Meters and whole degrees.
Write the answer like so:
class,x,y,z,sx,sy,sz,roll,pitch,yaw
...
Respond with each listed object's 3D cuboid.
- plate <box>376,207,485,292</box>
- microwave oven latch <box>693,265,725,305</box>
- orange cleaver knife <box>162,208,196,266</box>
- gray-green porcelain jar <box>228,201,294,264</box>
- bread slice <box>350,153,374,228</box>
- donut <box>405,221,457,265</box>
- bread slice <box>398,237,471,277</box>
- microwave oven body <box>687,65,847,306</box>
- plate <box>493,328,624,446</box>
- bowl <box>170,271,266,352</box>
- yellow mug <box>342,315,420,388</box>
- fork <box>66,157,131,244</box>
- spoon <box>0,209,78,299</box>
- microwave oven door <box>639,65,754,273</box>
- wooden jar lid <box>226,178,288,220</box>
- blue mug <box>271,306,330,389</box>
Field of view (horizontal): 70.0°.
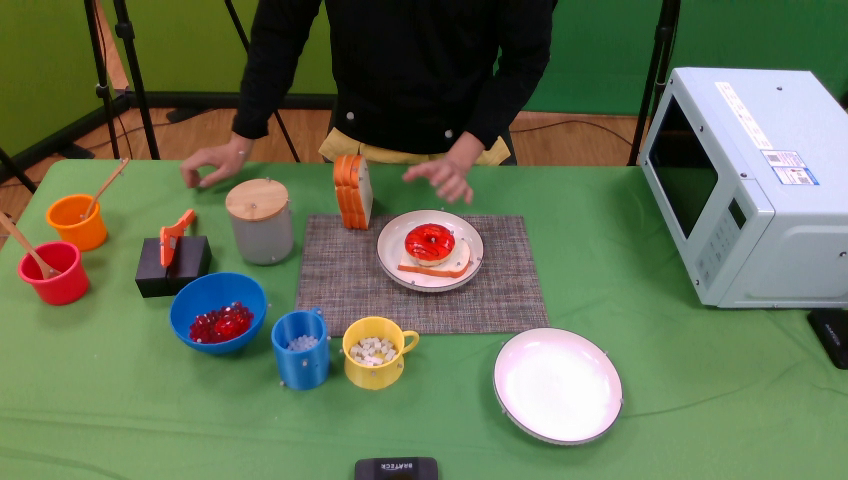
class,x,y,z,sx,sy,sz,roll,pitch,yaw
plate,0.012,0.021,1.159,0.209,0.038,0.208,2,47,-2
microwave oven latch,0.522,0.081,1.115,0.030,0.029,0.078,2,46,-1
orange cleaver knife,-0.454,-0.010,1.129,0.012,0.077,0.210,-1,17,-6
gray-green porcelain jar,-0.300,-0.027,1.126,0.106,0.127,0.105,2,46,-2
bread slice,-0.124,-0.104,1.207,0.018,0.135,0.106,-1,48,7
donut,0.013,0.004,1.137,0.099,0.048,0.098,0,45,1
bread slice,0.025,0.024,1.160,0.131,0.019,0.104,8,47,7
microwave oven body,0.669,-0.111,1.176,0.326,0.261,0.439,0,46,-3
plate,0.213,0.236,0.974,0.208,0.039,0.206,2,46,-2
bowl,-0.333,0.132,1.006,0.151,0.077,0.150,2,46,-2
yellow mug,-0.068,0.177,0.990,0.131,0.064,0.099,-15,50,-19
fork,-0.608,-0.074,1.132,0.207,0.019,0.028,-52,48,10
spoon,-0.668,0.022,1.040,0.041,0.021,0.194,-41,105,-29
microwave oven door,0.522,-0.147,1.193,0.039,0.245,0.353,0,47,-3
wooden jar lid,-0.296,-0.070,1.081,0.108,0.021,0.107,1,45,-1
blue mug,-0.188,0.163,0.969,0.082,0.106,0.116,15,47,10
